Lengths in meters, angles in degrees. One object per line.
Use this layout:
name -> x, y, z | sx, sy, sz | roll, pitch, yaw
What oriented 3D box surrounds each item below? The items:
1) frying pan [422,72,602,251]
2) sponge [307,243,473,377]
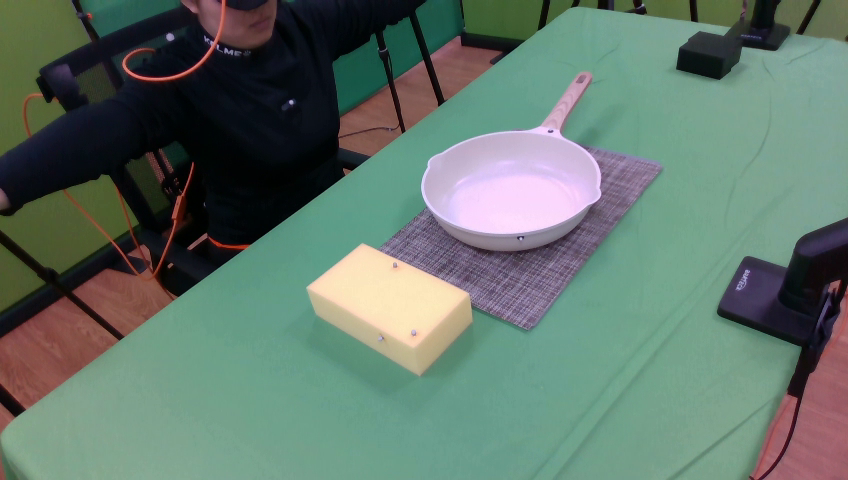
frying pan -> 0.199, -0.155, 1.062 | 0.304, 0.103, 0.488 | 19, 56, 28
sponge -> -0.050, 0.092, 0.858 | 0.205, 0.061, 0.118 | 23, 50, 32
